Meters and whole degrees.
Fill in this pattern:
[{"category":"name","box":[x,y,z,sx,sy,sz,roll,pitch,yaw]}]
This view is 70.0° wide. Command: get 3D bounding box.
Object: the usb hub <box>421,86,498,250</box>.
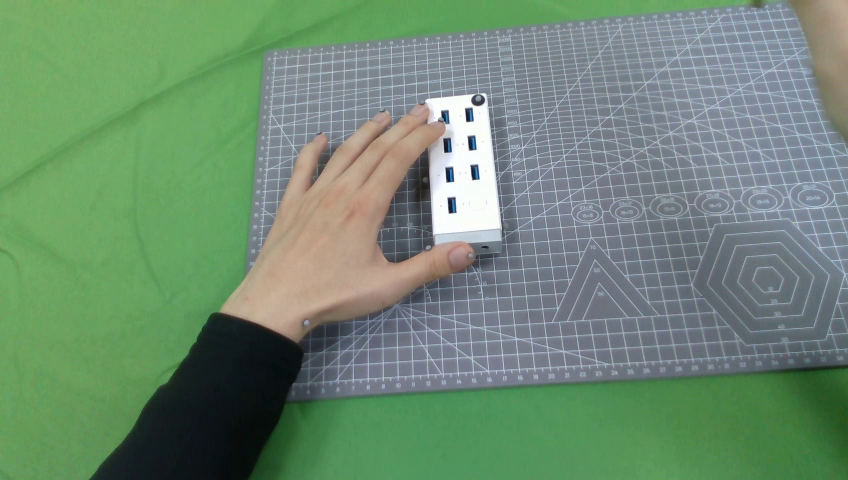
[{"category":"usb hub","box":[0.025,-0.055,0.445,0.049,0.025,0.124,-4,67,3]}]
